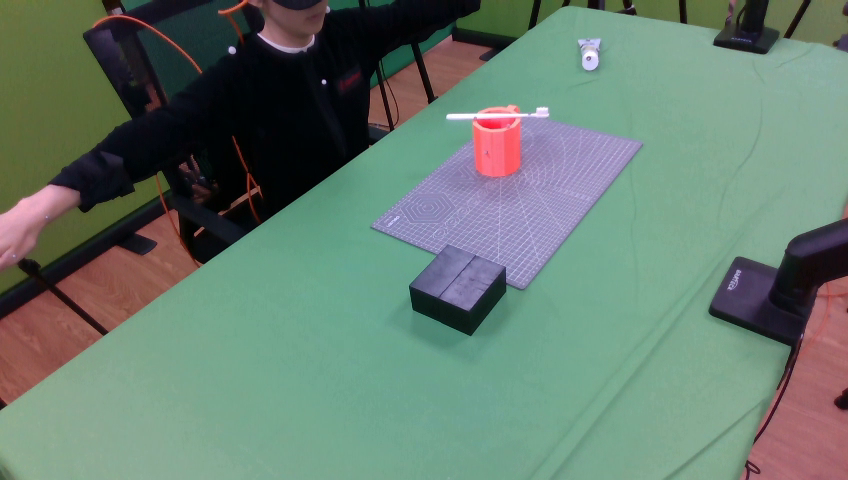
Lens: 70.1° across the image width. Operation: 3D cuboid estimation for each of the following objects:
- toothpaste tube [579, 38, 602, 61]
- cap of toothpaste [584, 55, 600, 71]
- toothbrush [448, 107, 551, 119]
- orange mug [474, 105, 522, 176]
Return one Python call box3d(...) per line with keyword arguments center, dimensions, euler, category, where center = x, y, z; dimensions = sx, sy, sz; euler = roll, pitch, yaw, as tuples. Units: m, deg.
box3d(center=(0.398, -0.449, 1.433), dimensions=(0.055, 0.034, 0.164), euler=(6, 38, 8), category="toothpaste tube")
box3d(center=(0.381, -0.403, 1.372), dimensions=(0.037, 0.037, 0.011), euler=(1, 38, 10), category="cap of toothpaste")
box3d(center=(0.132, -0.223, 1.072), dimensions=(0.181, 0.017, 0.014), euler=(0, 42, 9), category="toothbrush")
box3d(center=(0.145, -0.192, 1.114), dimensions=(0.083, 0.101, 0.126), euler=(18, 51, 27), category="orange mug")
